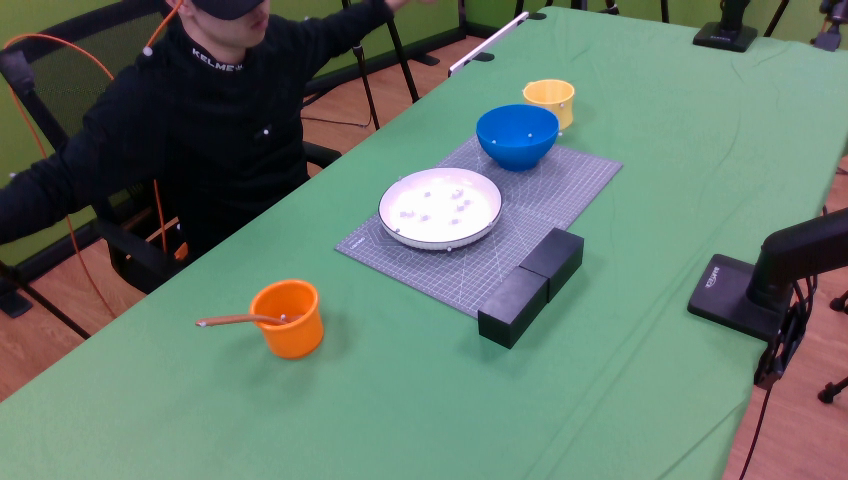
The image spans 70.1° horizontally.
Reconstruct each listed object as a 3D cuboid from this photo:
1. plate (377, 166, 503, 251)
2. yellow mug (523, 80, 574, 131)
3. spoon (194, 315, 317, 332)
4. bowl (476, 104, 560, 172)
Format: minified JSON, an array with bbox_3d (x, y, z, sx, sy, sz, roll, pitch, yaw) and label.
[{"bbox_3d":[0.027,-0.050,1.007,0.209,0.038,0.208,-4,41,4],"label":"plate"},{"bbox_3d":[0.242,-0.278,1.224,0.100,0.064,0.129,-24,42,-18],"label":"yellow mug"},{"bbox_3d":[-0.212,0.105,0.780,0.041,0.195,0.021,19,91,34],"label":"spoon"},{"bbox_3d":[0.170,-0.178,1.105,0.151,0.077,0.150,-4,40,4],"label":"bowl"}]
